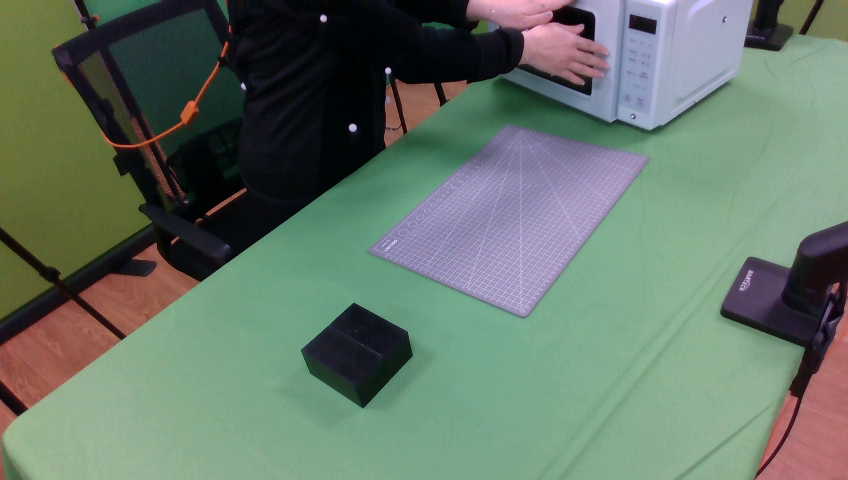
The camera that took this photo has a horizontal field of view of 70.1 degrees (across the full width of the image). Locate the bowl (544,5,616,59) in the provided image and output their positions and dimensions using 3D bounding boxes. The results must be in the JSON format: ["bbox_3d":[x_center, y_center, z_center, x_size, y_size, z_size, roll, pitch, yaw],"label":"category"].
[{"bbox_3d":[0.332,-0.441,1.302,0.151,0.077,0.150,-3,40,3],"label":"bowl"}]

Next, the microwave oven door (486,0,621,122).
[{"bbox_3d":[0.255,-0.406,1.218,0.039,0.245,0.352,-31,45,-22],"label":"microwave oven door"}]

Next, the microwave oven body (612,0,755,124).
[{"bbox_3d":[0.402,-0.458,1.259,0.327,0.261,0.437,-33,45,-24],"label":"microwave oven body"}]

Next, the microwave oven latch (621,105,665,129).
[{"bbox_3d":[0.413,-0.237,1.146,0.030,0.029,0.078,-31,44,-23],"label":"microwave oven latch"}]
